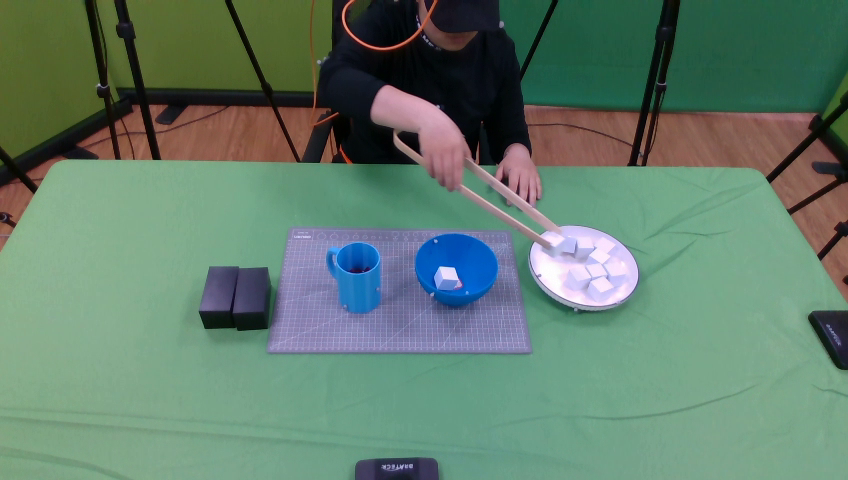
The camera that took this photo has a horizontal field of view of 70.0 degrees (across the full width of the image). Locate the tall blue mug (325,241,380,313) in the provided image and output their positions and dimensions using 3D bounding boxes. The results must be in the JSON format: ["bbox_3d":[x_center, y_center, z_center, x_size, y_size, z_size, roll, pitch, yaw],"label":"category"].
[{"bbox_3d":[-0.130,0.063,1.062,0.107,0.108,0.077,9,47,5],"label":"tall blue mug"}]

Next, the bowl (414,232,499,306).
[{"bbox_3d":[0.056,0.066,1.095,0.151,0.077,0.150,2,46,-2],"label":"bowl"}]

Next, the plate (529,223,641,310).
[{"bbox_3d":[0.303,0.053,1.156,0.209,0.038,0.208,2,46,-1],"label":"plate"}]

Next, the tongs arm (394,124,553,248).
[{"bbox_3d":[0.082,-0.103,1.137,0.386,0.028,0.028,37,68,17],"label":"tongs arm"}]

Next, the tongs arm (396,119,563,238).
[{"bbox_3d":[0.097,-0.118,1.147,0.383,0.026,0.051,41,66,19],"label":"tongs arm"}]
